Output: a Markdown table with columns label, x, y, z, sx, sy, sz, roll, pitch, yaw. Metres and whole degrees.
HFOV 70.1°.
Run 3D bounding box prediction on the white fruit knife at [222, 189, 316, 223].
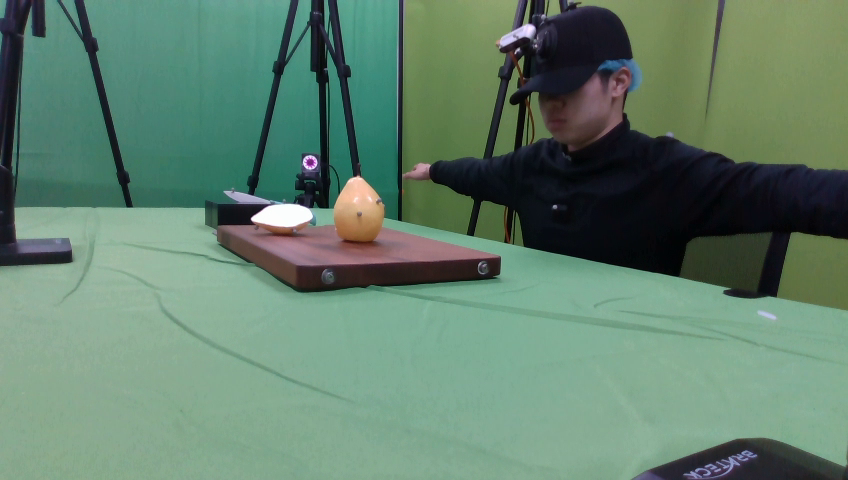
| label | x | y | z | sx | sy | sz | roll | pitch | yaw |
| --- | --- | --- | --- | --- | --- | --- | --- | --- | --- |
| white fruit knife | -0.311 | -0.071 | 1.236 | 0.208 | 0.027 | 0.016 | 16 | 7 | -37 |

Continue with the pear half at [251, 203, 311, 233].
| label | x | y | z | sx | sy | sz | roll | pitch | yaw |
| --- | --- | --- | --- | --- | --- | --- | --- | --- | --- |
| pear half | -0.212 | -0.027 | 0.900 | 0.088 | 0.031 | 0.070 | -16 | 31 | -25 |

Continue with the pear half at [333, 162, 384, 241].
| label | x | y | z | sx | sy | sz | roll | pitch | yaw |
| --- | --- | --- | --- | --- | --- | --- | --- | --- | --- |
| pear half | -0.085 | -0.053 | 0.842 | 0.056 | 0.110 | 0.076 | 6 | 12 | 28 |
